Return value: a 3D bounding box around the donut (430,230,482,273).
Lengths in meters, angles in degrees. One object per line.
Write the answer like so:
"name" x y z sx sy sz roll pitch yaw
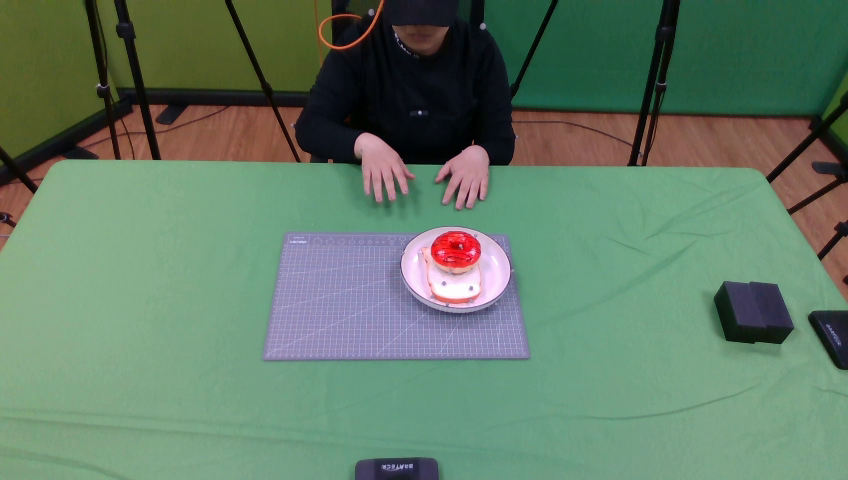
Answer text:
"donut" 0.060 0.020 1.132 0.099 0.048 0.098 0 43 0

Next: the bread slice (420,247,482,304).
"bread slice" 0.056 0.062 1.131 0.107 0.018 0.133 -6 46 -8

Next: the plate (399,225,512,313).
"plate" 0.057 0.057 1.134 0.209 0.038 0.208 2 46 -2
